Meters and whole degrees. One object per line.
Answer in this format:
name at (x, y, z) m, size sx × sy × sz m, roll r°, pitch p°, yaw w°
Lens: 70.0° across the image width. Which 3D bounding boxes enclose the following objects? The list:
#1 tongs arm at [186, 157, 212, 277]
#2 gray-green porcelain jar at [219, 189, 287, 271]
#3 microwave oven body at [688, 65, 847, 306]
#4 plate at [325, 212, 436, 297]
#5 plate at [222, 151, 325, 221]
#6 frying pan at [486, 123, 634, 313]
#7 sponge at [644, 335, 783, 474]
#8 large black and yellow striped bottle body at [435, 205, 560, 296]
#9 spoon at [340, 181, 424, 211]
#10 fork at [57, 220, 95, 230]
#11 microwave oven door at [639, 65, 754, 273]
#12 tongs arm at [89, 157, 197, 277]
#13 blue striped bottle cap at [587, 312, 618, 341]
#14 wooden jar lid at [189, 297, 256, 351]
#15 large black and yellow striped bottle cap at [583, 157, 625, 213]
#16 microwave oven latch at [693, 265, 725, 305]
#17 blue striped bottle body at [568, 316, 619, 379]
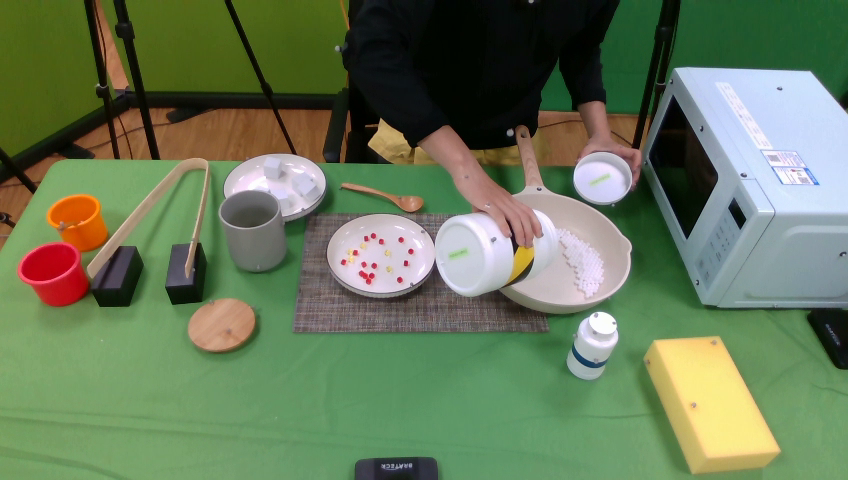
tongs arm at (-0.445, -0.058, 1.168) m, size 0.051 × 0.026 × 0.382 m, roll -4°, pitch 37°, yaw -6°
gray-green porcelain jar at (-0.310, -0.014, 1.113) m, size 0.106 × 0.127 × 0.105 m, roll 2°, pitch 46°, yaw -2°
microwave oven body at (0.669, -0.111, 1.176) m, size 0.326 × 0.261 × 0.439 m, roll 0°, pitch 46°, yaw -3°
plate at (-0.080, 0.030, 1.143) m, size 0.209 × 0.038 × 0.208 m, roll 2°, pitch 46°, yaw -2°
plate at (-0.310, -0.106, 1.262) m, size 0.208 × 0.039 × 0.206 m, roll 2°, pitch 47°, yaw -2°
frying pan at (0.235, -0.061, 1.207) m, size 0.307 × 0.103 × 0.484 m, roll 2°, pitch 55°, yaw -6°
sponge at (0.448, 0.253, 0.956) m, size 0.118 × 0.061 × 0.205 m, roll -3°, pitch 47°, yaw -8°
large black and yellow striped bottle body at (0.125, 0.012, 0.998) m, size 0.184 × 0.131 × 0.130 m, roll -12°, pitch 46°, yaw -39°
spoon at (-0.090, -0.100, 1.282) m, size 0.193 × 0.022 × 0.041 m, roll 18°, pitch 64°, yaw 13°
fork at (-0.624, -0.027, 1.087) m, size 0.028 × 0.207 × 0.018 m, roll -3°, pitch 92°, yaw -17°
microwave oven door at (0.522, -0.147, 1.193) m, size 0.039 × 0.245 × 0.353 m, roll 0°, pitch 47°, yaw -3°
tongs arm at (-0.530, -0.058, 1.163) m, size 0.028 × 0.028 × 0.385 m, roll 1°, pitch 36°, yaw 7°
blue striped bottle cap at (0.279, 0.134, 0.947) m, size 0.044 × 0.021 × 0.044 m, roll 2°, pitch 45°, yaw -2°
wooden jar lid at (-0.342, 0.145, 1.033) m, size 0.108 × 0.021 × 0.107 m, roll 2°, pitch 45°, yaw -2°
large black and yellow striped bottle cap at (0.371, -0.114, 1.249) m, size 0.115 × 0.115 × 0.018 m, roll -32°, pitch 20°, yaw -29°
microwave oven latch at (0.523, 0.082, 1.116) m, size 0.030 × 0.029 × 0.078 m, roll 2°, pitch 46°, yaw -1°
blue striped bottle body at (0.277, 0.169, 0.984) m, size 0.063 × 0.121 × 0.062 m, roll 2°, pitch 46°, yaw -2°
